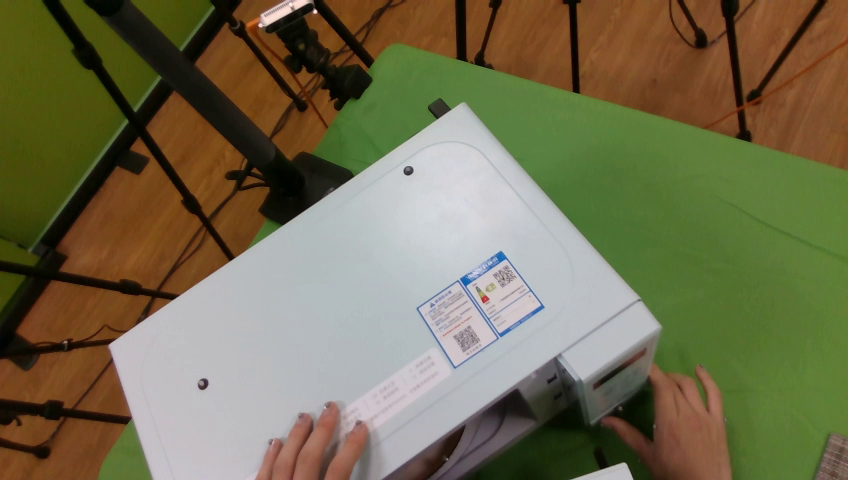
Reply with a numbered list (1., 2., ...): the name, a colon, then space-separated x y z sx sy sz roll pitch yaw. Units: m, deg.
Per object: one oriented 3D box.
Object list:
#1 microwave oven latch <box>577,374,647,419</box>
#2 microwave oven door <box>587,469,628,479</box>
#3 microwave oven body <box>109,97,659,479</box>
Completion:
1. microwave oven latch: 0.209 0.165 0.673 0.079 0.030 0.030 -33 62 0
2. microwave oven door: 0.018 0.284 0.558 0.356 0.246 0.039 -21 61 6
3. microwave oven body: -0.037 0.123 0.656 0.442 0.262 0.322 -35 62 -1
